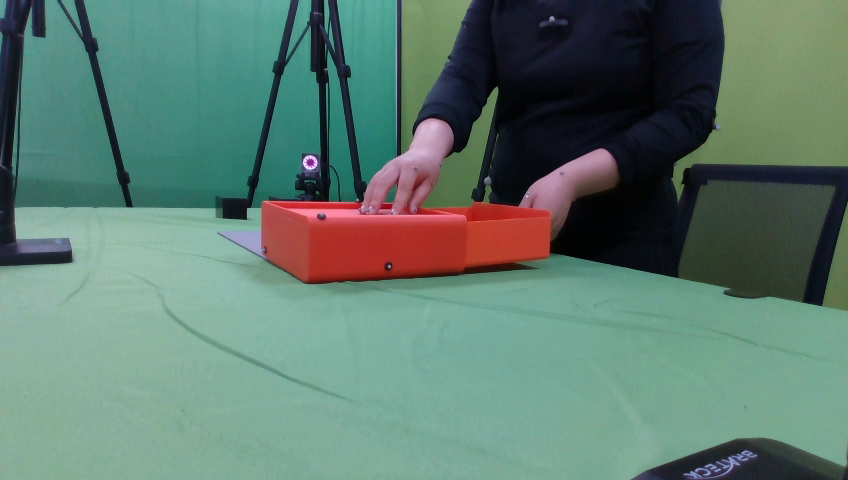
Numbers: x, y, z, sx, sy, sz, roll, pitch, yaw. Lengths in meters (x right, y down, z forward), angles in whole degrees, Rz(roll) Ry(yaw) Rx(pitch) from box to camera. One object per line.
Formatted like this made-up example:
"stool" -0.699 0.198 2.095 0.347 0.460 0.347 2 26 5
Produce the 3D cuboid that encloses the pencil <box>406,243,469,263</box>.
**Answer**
"pencil" 0.026 0.016 0.868 0.012 0.012 0.195 7 9 27

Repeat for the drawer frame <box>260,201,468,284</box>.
"drawer frame" -0.084 -0.005 0.794 0.215 0.082 0.200 -2 10 -30

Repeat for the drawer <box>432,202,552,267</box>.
"drawer" 0.041 -0.010 0.870 0.213 0.073 0.193 -5 10 -30
